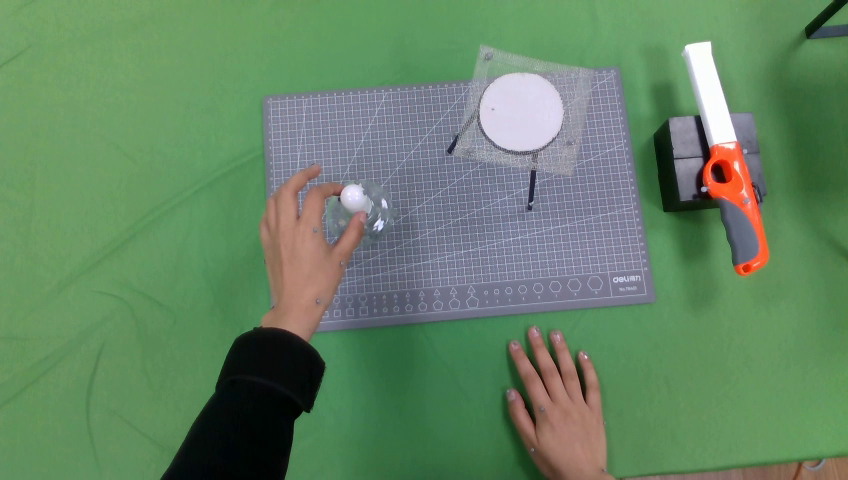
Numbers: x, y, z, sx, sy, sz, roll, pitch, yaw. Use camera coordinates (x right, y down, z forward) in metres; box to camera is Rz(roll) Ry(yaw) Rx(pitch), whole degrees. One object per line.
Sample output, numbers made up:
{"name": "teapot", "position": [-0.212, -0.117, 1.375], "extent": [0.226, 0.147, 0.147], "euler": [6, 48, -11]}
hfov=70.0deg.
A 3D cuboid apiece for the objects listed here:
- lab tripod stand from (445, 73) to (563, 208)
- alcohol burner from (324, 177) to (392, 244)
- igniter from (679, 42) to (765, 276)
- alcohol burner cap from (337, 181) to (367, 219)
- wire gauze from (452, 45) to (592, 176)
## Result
{"name": "lab tripod stand", "position": [0.099, -0.121, 0.681], "extent": [0.148, 0.132, 0.147], "euler": [0, 77, 1]}
{"name": "alcohol burner", "position": [-0.076, -0.037, 0.674], "extent": [0.078, 0.119, 0.077], "euler": [0, 80, 1]}
{"name": "igniter", "position": [0.336, -0.096, 0.685], "extent": [0.057, 0.025, 0.275], "euler": [-8, 77, 1]}
{"name": "alcohol burner cap", "position": [-0.077, -0.045, 0.638], "extent": [0.034, 0.048, 0.033], "euler": [1, 73, -4]}
{"name": "wire gauze", "position": [0.101, -0.132, 0.614], "extent": [0.121, 0.011, 0.124], "euler": [14, 78, 2]}
